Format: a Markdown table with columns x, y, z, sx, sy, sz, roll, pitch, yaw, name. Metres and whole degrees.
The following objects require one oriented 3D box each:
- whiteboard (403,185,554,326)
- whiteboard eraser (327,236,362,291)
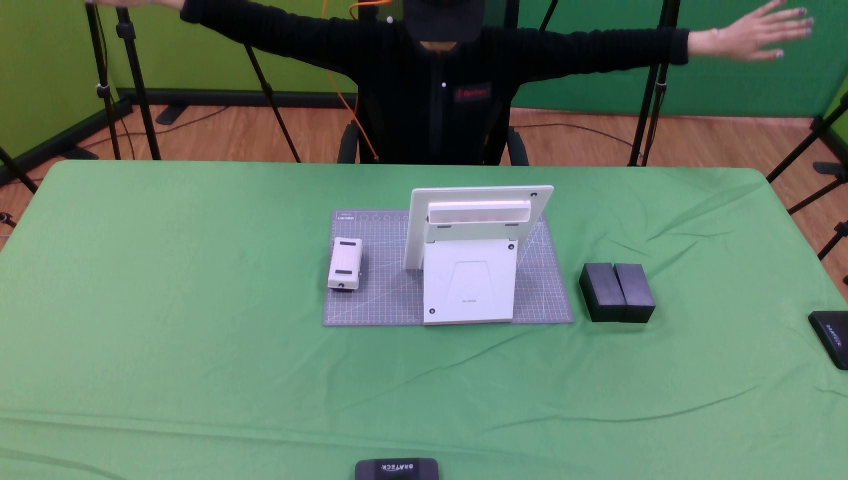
| x | y | z | sx | sy | sz | roll | pitch | yaw | name |
| --- | --- | --- | --- | --- | --- | --- | --- | --- | --- |
| 0.081 | 0.044 | 1.005 | 0.217 | 0.306 | 0.143 | -1 | 65 | -5 | whiteboard |
| -0.147 | 0.044 | 1.127 | 0.055 | 0.042 | 0.112 | 2 | 46 | -2 | whiteboard eraser |
